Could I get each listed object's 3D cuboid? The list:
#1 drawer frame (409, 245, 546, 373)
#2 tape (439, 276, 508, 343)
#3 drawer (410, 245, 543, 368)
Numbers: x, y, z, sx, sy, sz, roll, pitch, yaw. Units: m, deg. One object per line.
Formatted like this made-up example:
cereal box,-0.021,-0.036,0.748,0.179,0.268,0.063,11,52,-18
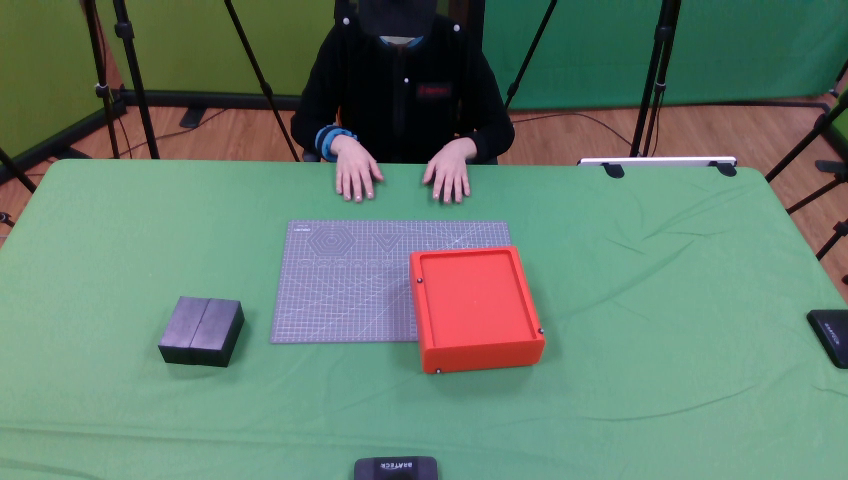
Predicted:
drawer frame,0.084,0.113,1.049,0.202,0.083,0.212,-4,47,-8
tape,0.084,0.119,1.052,0.117,0.053,0.116,2,45,-2
drawer,0.083,0.111,1.051,0.195,0.073,0.210,-3,47,-8
